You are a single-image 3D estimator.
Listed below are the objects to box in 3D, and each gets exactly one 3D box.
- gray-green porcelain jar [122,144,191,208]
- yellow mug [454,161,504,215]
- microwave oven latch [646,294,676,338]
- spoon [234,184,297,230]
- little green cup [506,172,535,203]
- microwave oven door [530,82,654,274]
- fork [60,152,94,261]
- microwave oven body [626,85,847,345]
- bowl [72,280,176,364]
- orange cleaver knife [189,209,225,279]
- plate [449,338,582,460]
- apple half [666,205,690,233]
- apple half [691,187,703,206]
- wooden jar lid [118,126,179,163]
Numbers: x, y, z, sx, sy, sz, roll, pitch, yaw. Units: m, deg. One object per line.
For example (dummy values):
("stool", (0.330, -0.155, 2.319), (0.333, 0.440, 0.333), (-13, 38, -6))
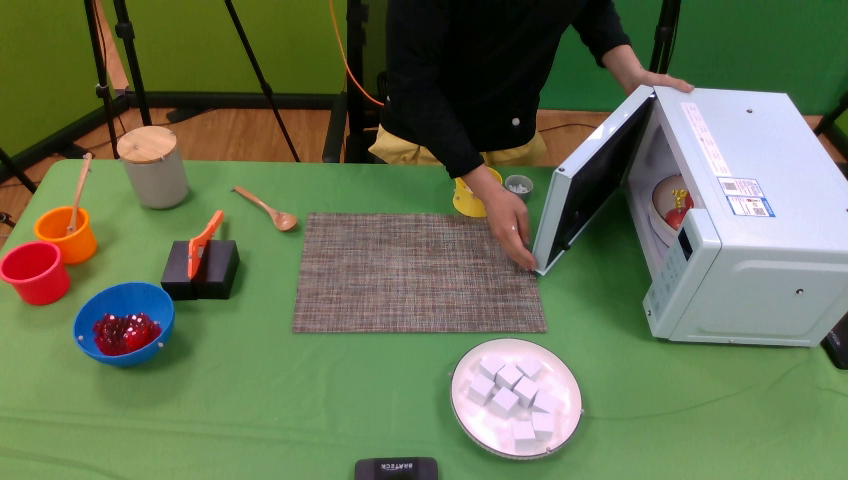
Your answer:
("gray-green porcelain jar", (-0.531, -0.137, 1.214), (0.106, 0.127, 0.105), (2, 47, -2))
("yellow mug", (0.117, -0.119, 1.284), (0.100, 0.064, 0.130), (9, 44, 4))
("microwave oven latch", (0.413, 0.133, 1.061), (0.030, 0.029, 0.078), (3, 46, 0))
("spoon", (-0.327, -0.073, 1.240), (0.193, 0.022, 0.041), (34, 72, 25))
("little green cup", (0.205, -0.111, 1.302), (0.061, 0.039, 0.061), (3, 47, -3))
("microwave oven door", (0.326, -0.124, 1.159), (0.039, 0.245, 0.355), (30, 52, 23))
("fork", (-0.638, -0.063, 1.120), (0.028, 0.018, 0.207), (12, 90, 5))
("microwave oven body", (0.569, -0.054, 1.116), (0.326, 0.261, 0.439), (2, 46, 0))
("bowl", (-0.473, 0.146, 0.982), (0.151, 0.077, 0.150), (2, 46, -2))
("orange cleaver knife", (-0.400, 0.002, 1.122), (0.012, 0.077, 0.210), (4, 23, -4))
("plate", (0.141, 0.251, 0.956), (0.208, 0.039, 0.206), (2, 46, -2))
("apple half", (0.507, -0.046, 1.168), (0.081, 0.033, 0.081), (4, 46, -4))
("apple half", (0.572, -0.090, 1.194), (0.081, 0.053, 0.074), (-1, 32, 14))
("wooden jar lid", (-0.528, -0.181, 1.167), (0.108, 0.021, 0.107), (3, 47, -4))
